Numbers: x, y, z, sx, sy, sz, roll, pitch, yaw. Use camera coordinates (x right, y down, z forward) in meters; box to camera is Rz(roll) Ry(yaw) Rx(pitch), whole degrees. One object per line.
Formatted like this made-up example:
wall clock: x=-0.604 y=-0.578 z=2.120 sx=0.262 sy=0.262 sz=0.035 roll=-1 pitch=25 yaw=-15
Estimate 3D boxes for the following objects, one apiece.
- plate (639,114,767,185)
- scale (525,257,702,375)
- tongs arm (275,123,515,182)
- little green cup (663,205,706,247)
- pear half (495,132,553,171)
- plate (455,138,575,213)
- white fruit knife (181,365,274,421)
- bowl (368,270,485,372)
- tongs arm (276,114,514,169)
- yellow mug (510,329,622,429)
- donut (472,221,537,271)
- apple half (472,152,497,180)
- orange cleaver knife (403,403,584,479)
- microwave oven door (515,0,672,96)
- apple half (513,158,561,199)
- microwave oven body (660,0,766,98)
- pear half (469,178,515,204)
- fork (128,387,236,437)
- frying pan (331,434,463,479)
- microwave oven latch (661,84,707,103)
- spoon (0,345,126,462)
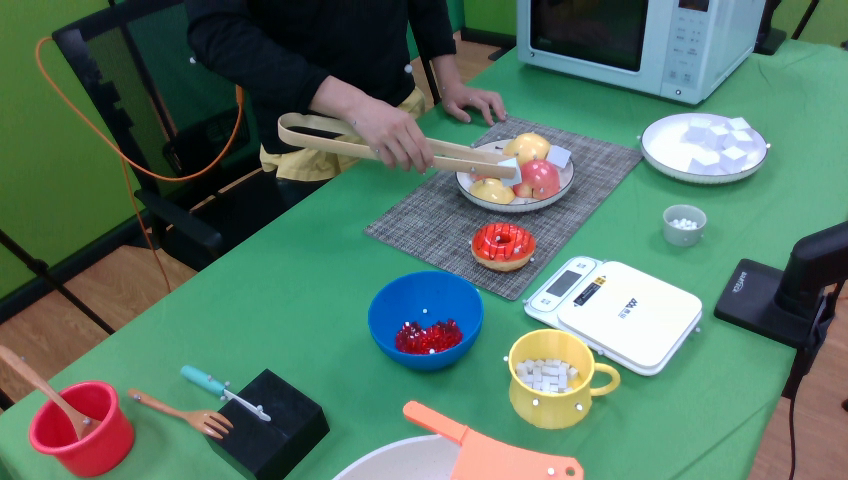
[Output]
plate: x=0.489 y=-0.157 z=1.074 sx=0.207 sy=0.039 sz=0.206 roll=-4 pitch=40 yaw=4
scale: x=0.254 y=0.091 z=0.821 sx=0.199 sy=0.032 sz=0.149 roll=28 pitch=51 yaw=35
tongs arm: x=-0.048 y=-0.136 z=0.961 sx=0.388 sy=0.028 sz=0.028 roll=10 pitch=48 yaw=-1
little green cup: x=0.396 y=-0.020 z=0.926 sx=0.061 sy=0.039 sz=0.061 roll=-4 pitch=40 yaw=4
pear half: x=0.174 y=-0.167 z=1.094 sx=0.109 sy=0.056 sz=0.076 roll=16 pitch=54 yaw=30
plate: x=0.159 y=-0.111 z=1.063 sx=0.209 sy=0.038 sz=0.208 roll=-4 pitch=40 yaw=4
white fruit knife: x=-0.245 y=0.188 z=0.747 sx=0.205 sy=0.027 sz=0.016 roll=9 pitch=42 yaw=41
bowl: x=0.007 y=0.119 z=0.791 sx=0.151 sy=0.077 sz=0.150 roll=-5 pitch=39 yaw=4
tongs arm: x=-0.045 y=-0.153 z=0.978 sx=0.385 sy=0.026 sz=0.050 roll=13 pitch=45 yaw=2
yellow mug: x=0.168 y=0.164 z=0.721 sx=0.130 sy=0.064 sz=0.099 roll=0 pitch=40 yaw=8
donut: x=0.123 y=0.008 z=0.923 sx=0.099 sy=0.048 sz=0.098 roll=-3 pitch=38 yaw=3
apple half: x=0.121 y=-0.139 z=1.088 sx=0.081 sy=0.033 sz=0.081 roll=0 pitch=44 yaw=0
orange cleaver knife: x=0.062 y=0.223 z=0.610 sx=0.210 sy=0.012 sz=0.077 roll=15 pitch=47 yaw=25
microwave oven door: x=0.343 y=-0.454 z=1.259 sx=0.353 sy=0.245 sz=0.039 roll=26 pitch=51 yaw=33
apple half: x=0.193 y=-0.111 z=1.031 sx=0.080 sy=0.053 sz=0.075 roll=12 pitch=41 yaw=26
microwave oven body: x=0.472 y=-0.513 z=1.317 sx=0.438 sy=0.261 sz=0.327 roll=26 pitch=51 yaw=34
pear half: x=0.114 y=-0.090 z=1.035 sx=0.087 sy=0.031 sz=0.071 roll=31 pitch=40 yaw=31
fork: x=-0.305 y=0.207 z=0.744 sx=0.206 sy=0.019 sz=0.028 roll=3 pitch=41 yaw=36
frying pan: x=-0.089 y=0.306 z=0.564 sx=0.487 sy=0.103 sz=0.306 roll=10 pitch=41 yaw=7
microwave oven latch: x=0.517 y=-0.296 z=1.204 sx=0.078 sy=0.029 sz=0.030 roll=27 pitch=52 yaw=35
spoon: x=-0.434 y=0.192 z=0.720 sx=0.194 sy=0.021 sz=0.042 roll=47 pitch=53 yaw=-7
